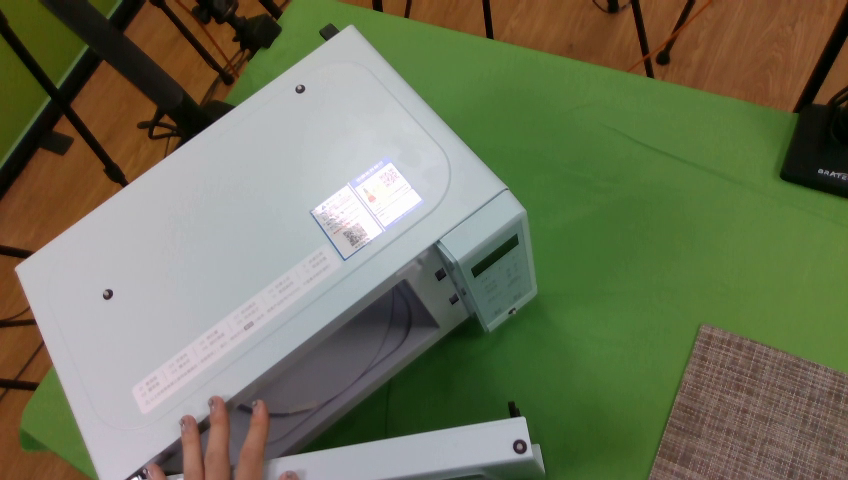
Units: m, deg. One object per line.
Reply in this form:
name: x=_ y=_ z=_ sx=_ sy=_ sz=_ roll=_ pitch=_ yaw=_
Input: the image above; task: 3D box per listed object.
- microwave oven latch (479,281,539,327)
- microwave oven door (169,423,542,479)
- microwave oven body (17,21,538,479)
microwave oven latch: x=0.102 y=0.069 z=0.728 sx=0.079 sy=0.030 sz=0.030 roll=-35 pitch=64 yaw=-3
microwave oven door: x=-0.069 y=0.225 z=0.586 sx=0.355 sy=0.246 sz=0.039 roll=-12 pitch=65 yaw=7
microwave oven body: x=-0.144 y=0.035 z=0.691 sx=0.441 sy=0.262 sz=0.323 roll=-37 pitch=65 yaw=-4
